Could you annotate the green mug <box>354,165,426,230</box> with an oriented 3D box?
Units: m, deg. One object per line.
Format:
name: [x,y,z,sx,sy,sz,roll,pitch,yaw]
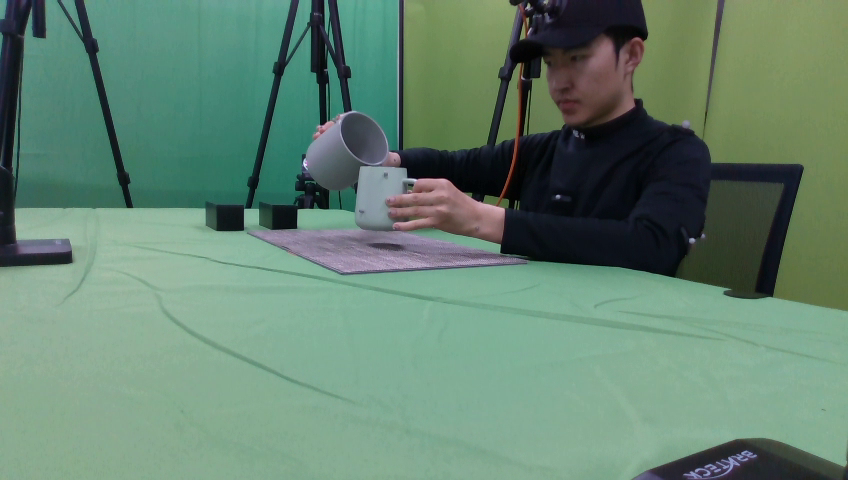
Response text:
green mug: [-0.054,-0.070,1.002,0.125,0.105,0.093,4,6,24]

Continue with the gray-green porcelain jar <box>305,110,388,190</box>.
gray-green porcelain jar: [-0.143,-0.156,1.081,0.106,0.105,0.126,-5,-17,-45]
